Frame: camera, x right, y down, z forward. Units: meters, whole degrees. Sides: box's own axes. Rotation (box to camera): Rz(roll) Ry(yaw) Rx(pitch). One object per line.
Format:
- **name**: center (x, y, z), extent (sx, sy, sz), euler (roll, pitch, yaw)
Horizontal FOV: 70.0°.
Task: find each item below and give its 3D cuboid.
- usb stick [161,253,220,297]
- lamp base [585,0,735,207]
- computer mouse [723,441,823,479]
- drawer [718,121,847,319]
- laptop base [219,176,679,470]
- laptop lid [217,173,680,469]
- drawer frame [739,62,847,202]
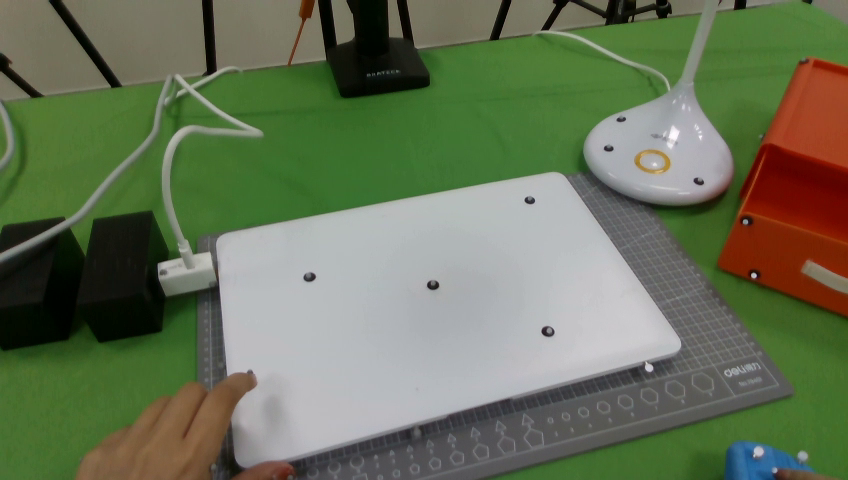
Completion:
- **usb stick**: center (-0.197, 0.029, 0.531), extent (0.059, 0.027, 0.021), euler (-11, 45, -18)
- **lamp base**: center (0.264, -0.154, 0.628), extent (0.160, 0.182, 0.178), euler (17, 43, 17)
- **computer mouse**: center (0.221, 0.182, 0.378), extent (0.062, 0.041, 0.116), euler (21, 49, 10)
- **drawer**: center (0.407, -0.020, 0.568), extent (0.193, 0.074, 0.211), euler (23, 48, 22)
- **laptop base**: center (0.009, 0.050, 0.532), extent (0.355, 0.023, 0.233), euler (-11, 49, -12)
- **laptop lid**: center (0.009, 0.043, 0.522), extent (0.357, 0.013, 0.239), euler (-10, 48, -11)
- **drawer frame**: center (0.466, -0.087, 0.634), extent (0.200, 0.083, 0.213), euler (24, 48, 23)
